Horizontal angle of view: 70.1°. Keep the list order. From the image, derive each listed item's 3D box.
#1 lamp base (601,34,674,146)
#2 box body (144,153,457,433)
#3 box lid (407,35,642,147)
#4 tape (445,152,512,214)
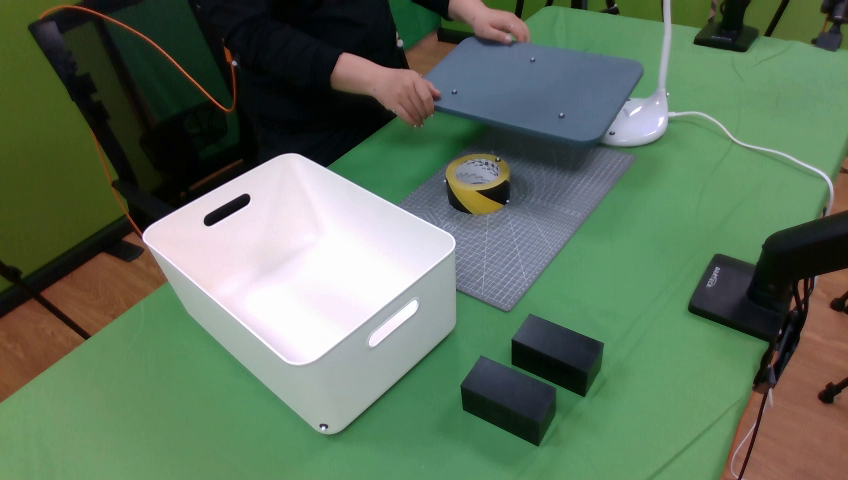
[{"bbox_3d":[0.393,-0.291,1.129,0.180,0.181,0.159,-11,41,-8],"label":"lamp base"},{"bbox_3d":[-0.158,0.054,0.819,0.361,0.161,0.255,29,52,34],"label":"box body"},{"bbox_3d":[0.182,-0.282,1.096,0.369,0.015,0.263,20,52,25],"label":"box lid"},{"bbox_3d":[0.095,-0.099,1.042,0.117,0.053,0.116,-4,41,4],"label":"tape"}]
